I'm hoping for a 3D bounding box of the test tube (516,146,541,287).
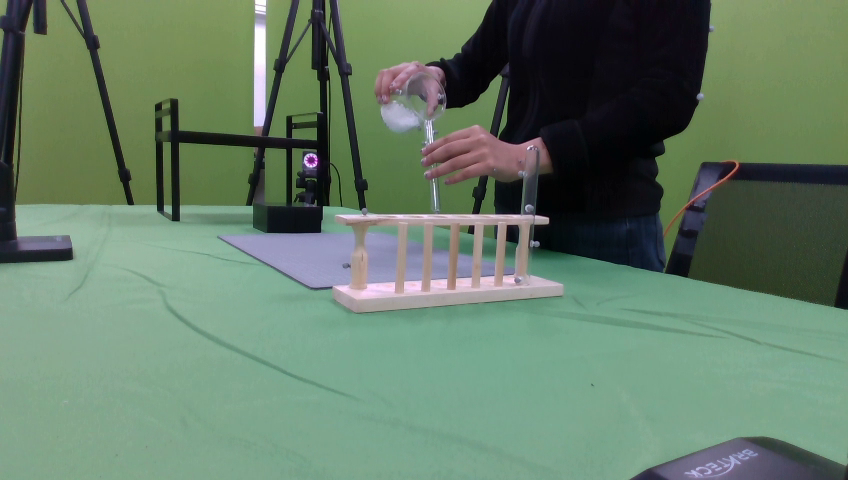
[{"bbox_3d":[0.110,-0.024,0.638,0.017,0.150,0.017,4,6,0],"label":"test tube"}]

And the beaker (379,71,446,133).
[{"bbox_3d":[-0.021,-0.216,0.977,0.074,0.084,0.100,-5,-4,-32],"label":"beaker"}]

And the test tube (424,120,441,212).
[{"bbox_3d":[0.012,-0.113,0.912,0.017,0.150,0.017,-4,-19,-1],"label":"test tube"}]

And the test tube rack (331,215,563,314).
[{"bbox_3d":[0.031,0.019,0.625,0.243,0.085,0.066,-1,8,-28],"label":"test tube rack"}]
